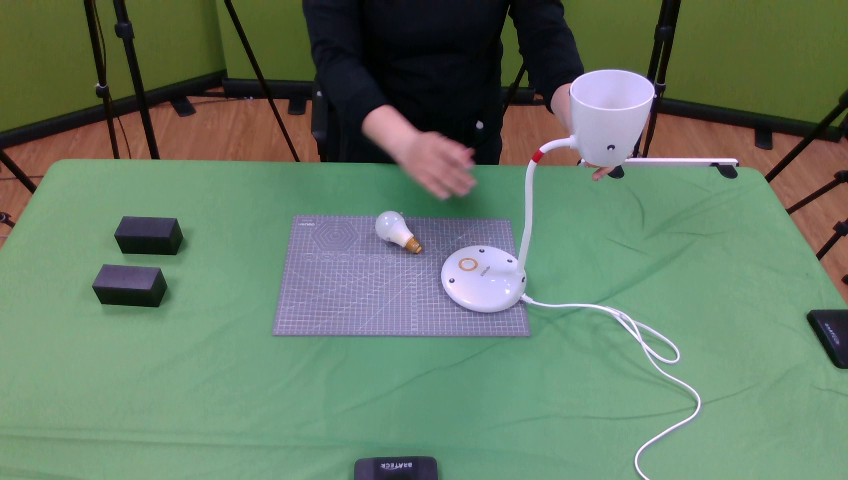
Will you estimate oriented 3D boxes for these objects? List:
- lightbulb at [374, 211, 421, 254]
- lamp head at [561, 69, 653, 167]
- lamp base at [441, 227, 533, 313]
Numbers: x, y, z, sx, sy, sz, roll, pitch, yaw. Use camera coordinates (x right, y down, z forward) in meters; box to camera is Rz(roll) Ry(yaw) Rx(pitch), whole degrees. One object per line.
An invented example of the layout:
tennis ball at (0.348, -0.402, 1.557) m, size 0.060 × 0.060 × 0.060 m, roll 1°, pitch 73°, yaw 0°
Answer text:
lightbulb at (-0.050, -0.011, 1.183) m, size 0.107 × 0.060 × 0.059 m, roll 40°, pitch 53°, yaw 10°
lamp head at (0.255, -0.165, 0.862) m, size 0.112 × 0.123 × 0.111 m, roll 0°, pitch 42°, yaw 0°
lamp base at (0.126, 0.021, 1.072) m, size 0.179 × 0.181 × 0.160 m, roll 23°, pitch 49°, yaw 13°
